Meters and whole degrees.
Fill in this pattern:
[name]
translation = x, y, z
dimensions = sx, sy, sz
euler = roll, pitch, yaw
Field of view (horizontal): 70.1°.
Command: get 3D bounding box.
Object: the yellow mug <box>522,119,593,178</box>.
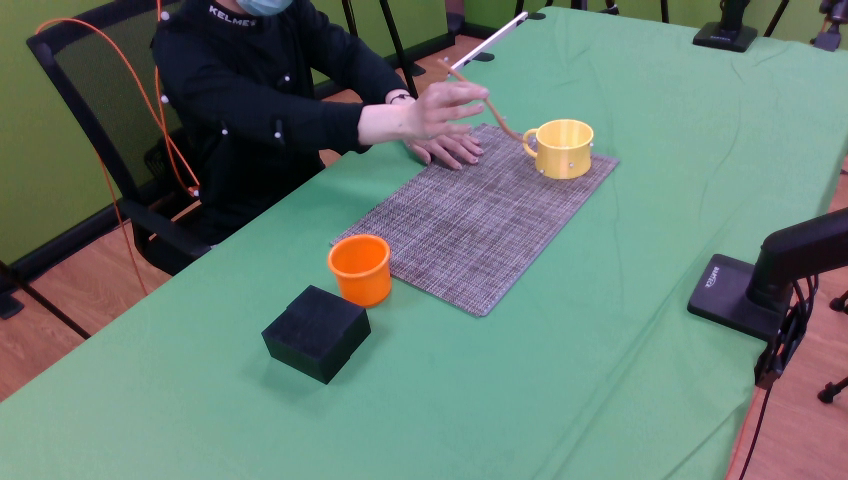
[yellow mug]
translation = 0.237, -0.169, 1.092
dimensions = 0.130, 0.064, 0.100
euler = 17, 46, 27

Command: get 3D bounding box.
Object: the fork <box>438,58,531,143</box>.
[fork]
translation = 0.099, -0.221, 0.972
dimensions = 0.018, 0.209, 0.028
euler = -48, 23, 2
